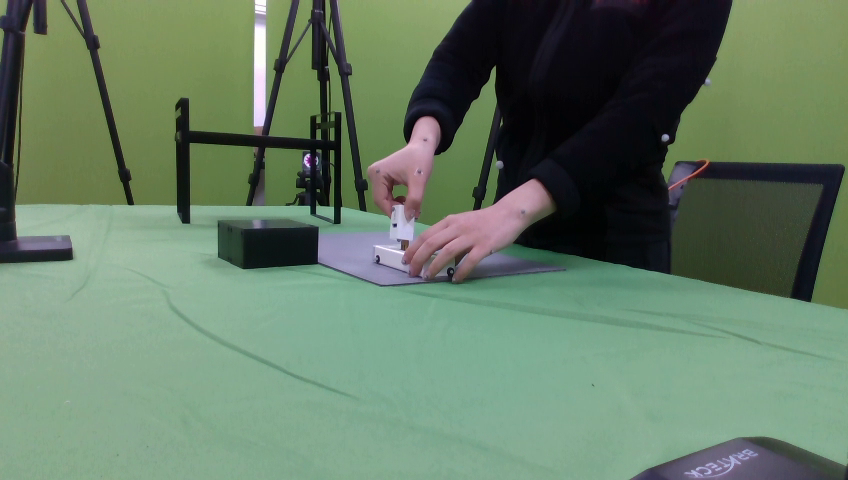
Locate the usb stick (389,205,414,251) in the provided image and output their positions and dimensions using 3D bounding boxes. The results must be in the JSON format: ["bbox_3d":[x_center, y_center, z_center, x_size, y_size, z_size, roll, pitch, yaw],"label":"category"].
[{"bbox_3d":[-0.029,-0.015,0.771,0.027,0.059,0.021,0,-1,-31],"label":"usb stick"}]

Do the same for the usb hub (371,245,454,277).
[{"bbox_3d":[-0.018,0.025,0.776,0.050,0.025,0.124,-1,7,-34],"label":"usb hub"}]
